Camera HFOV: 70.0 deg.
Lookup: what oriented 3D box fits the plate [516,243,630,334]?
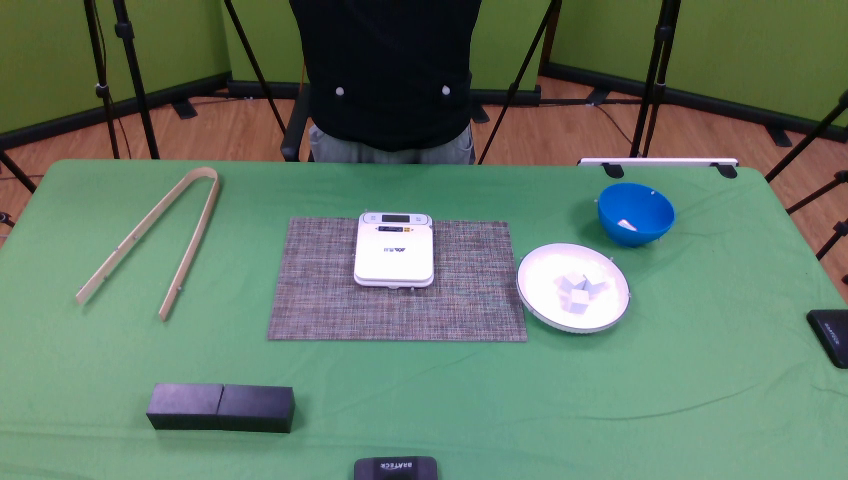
[{"bbox_3d":[0.271,0.092,1.120,0.208,0.039,0.206,2,46,-2],"label":"plate"}]

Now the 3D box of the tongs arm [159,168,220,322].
[{"bbox_3d":[-0.446,-0.005,1.165,0.028,0.028,0.385,2,46,0],"label":"tongs arm"}]

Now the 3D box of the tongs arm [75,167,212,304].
[{"bbox_3d":[-0.526,-0.021,1.167,0.051,0.026,0.383,14,46,6],"label":"tongs arm"}]

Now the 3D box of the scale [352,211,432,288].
[{"bbox_3d":[-0.060,0.010,1.171,0.149,0.032,0.199,2,46,-3],"label":"scale"}]

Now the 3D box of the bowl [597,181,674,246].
[{"bbox_3d":[0.418,-0.042,1.230,0.151,0.077,0.150,2,46,-2],"label":"bowl"}]
